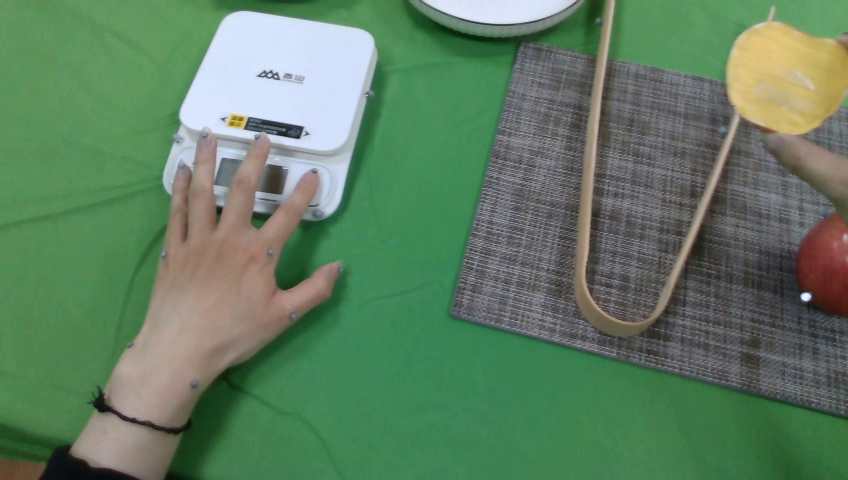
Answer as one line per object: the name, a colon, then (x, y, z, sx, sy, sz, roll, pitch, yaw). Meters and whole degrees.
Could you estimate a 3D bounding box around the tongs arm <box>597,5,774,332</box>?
tongs arm: (0.236, -0.082, 0.522, 0.050, 0.027, 0.383, 25, 64, 10)

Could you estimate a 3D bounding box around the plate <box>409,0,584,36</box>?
plate: (0.071, -0.281, 0.625, 0.209, 0.038, 0.207, 1, 61, -2)

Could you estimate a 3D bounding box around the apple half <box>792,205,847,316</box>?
apple half: (0.306, 0.021, 0.446, 0.053, 0.075, 0.080, -21, 67, -8)

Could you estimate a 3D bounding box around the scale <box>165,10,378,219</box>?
scale: (-0.129, -0.116, 0.532, 0.148, 0.032, 0.199, 9, 62, 3)

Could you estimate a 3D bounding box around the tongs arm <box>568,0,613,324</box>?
tongs arm: (0.157, -0.109, 0.536, 0.028, 0.028, 0.385, 13, 62, 1)

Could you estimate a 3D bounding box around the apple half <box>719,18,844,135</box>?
apple half: (0.234, -0.105, 0.410, 0.081, 0.033, 0.081, -1, 83, 9)
